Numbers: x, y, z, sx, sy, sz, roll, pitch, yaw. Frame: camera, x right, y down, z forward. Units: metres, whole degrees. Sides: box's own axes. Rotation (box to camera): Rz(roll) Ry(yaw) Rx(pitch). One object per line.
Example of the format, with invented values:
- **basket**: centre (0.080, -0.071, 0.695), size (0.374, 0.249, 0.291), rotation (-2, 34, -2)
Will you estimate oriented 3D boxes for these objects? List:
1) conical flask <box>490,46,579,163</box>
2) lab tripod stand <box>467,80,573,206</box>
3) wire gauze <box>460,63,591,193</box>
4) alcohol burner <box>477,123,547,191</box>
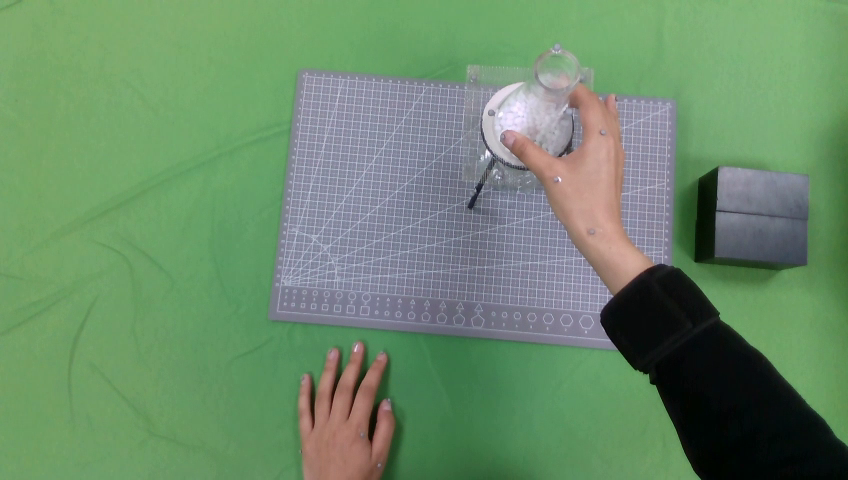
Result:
- **conical flask**: centre (0.099, -0.118, 0.517), size (0.075, 0.122, 0.075), rotation (0, 80, 0)
- **lab tripod stand**: centre (0.096, -0.105, 0.643), size (0.148, 0.132, 0.148), rotation (0, 81, 2)
- **wire gauze**: centre (0.097, -0.109, 0.576), size (0.125, 0.011, 0.121), rotation (5, 82, 0)
- **alcohol burner**: centre (0.096, -0.093, 0.651), size (0.078, 0.119, 0.077), rotation (0, 82, 2)
